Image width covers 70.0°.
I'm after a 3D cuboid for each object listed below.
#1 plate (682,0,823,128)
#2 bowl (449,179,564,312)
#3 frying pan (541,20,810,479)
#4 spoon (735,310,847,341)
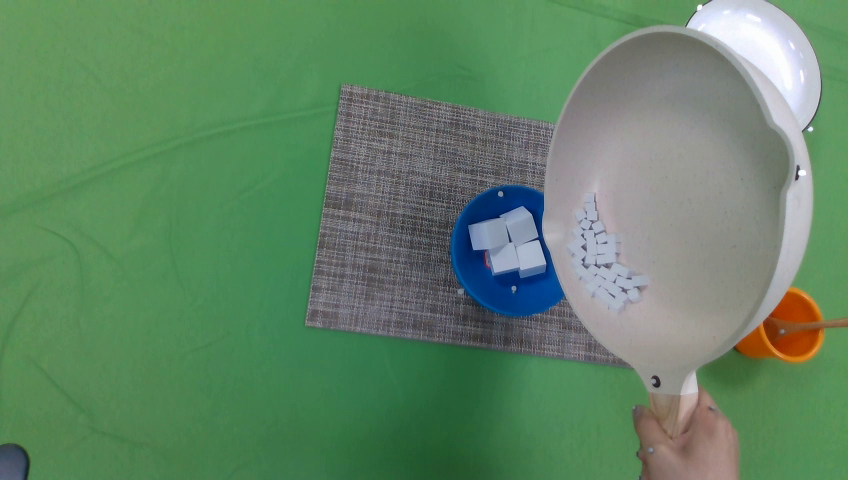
[{"bbox_3d":[0.416,-0.224,0.790,0.208,0.039,0.207,2,81,-10],"label":"plate"},{"bbox_3d":[0.095,0.012,0.707,0.152,0.077,0.150,2,79,-10],"label":"bowl"},{"bbox_3d":[0.207,0.064,0.526,0.103,0.306,0.486,4,82,-19],"label":"frying pan"},{"bbox_3d":[0.478,0.095,0.735,0.022,0.193,0.041,7,74,-55],"label":"spoon"}]
